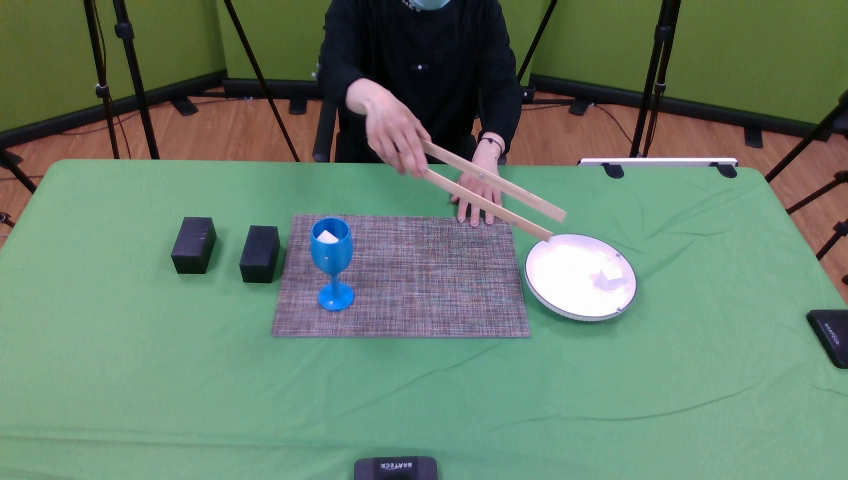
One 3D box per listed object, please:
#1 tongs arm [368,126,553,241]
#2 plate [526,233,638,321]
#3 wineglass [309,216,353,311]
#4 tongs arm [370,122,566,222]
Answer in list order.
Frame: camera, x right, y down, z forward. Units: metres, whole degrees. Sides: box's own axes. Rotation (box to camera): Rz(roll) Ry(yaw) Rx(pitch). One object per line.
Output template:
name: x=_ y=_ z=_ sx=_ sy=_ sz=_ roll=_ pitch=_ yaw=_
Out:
tongs arm: x=0.051 y=-0.100 z=1.055 sx=0.386 sy=0.028 sz=0.028 roll=30 pitch=53 yaw=17
plate: x=0.292 y=0.071 z=1.135 sx=0.209 sy=0.038 sz=0.208 roll=2 pitch=46 yaw=-2
wineglass: x=-0.156 y=0.043 z=1.032 sx=0.074 sy=0.173 sz=0.073 roll=2 pitch=46 yaw=-2
tongs arm: x=0.070 y=-0.122 z=1.079 sx=0.383 sy=0.026 sz=0.050 roll=30 pitch=50 yaw=17
